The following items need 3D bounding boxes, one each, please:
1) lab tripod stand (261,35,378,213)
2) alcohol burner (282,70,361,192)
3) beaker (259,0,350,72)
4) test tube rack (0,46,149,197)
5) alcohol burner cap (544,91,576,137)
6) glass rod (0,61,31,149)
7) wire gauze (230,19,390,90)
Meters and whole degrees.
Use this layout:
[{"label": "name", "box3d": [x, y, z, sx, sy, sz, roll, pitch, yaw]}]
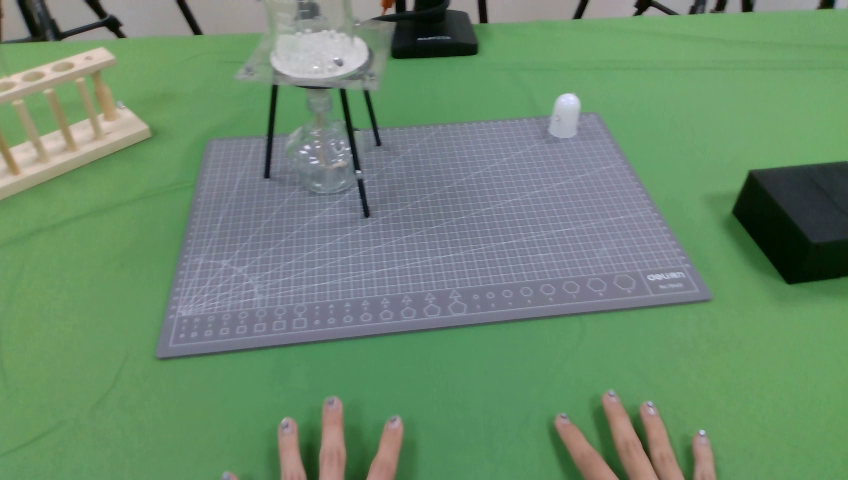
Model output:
[{"label": "lab tripod stand", "box3d": [-0.095, -0.114, 0.578, 0.148, 0.133, 0.147, -1, 45, 1]}, {"label": "alcohol burner", "box3d": [-0.101, -0.107, 0.585, 0.078, 0.120, 0.077, -1, 42, 1]}, {"label": "beaker", "box3d": [-0.102, -0.198, 0.500, 0.084, 0.101, 0.073, 7, 44, 8]}, {"label": "test tube rack", "box3d": [-0.417, -0.106, 0.607, 0.242, 0.086, 0.066, -34, 53, -31]}, {"label": "alcohol burner cap", "box3d": [0.153, -0.143, 0.677, 0.034, 0.048, 0.033, 0, 43, 0]}, {"label": "glass rod", "box3d": [-0.416, -0.179, 0.588, 0.008, 0.201, 0.008, 2, 36, -1]}, {"label": "wire gauze", "box3d": [-0.097, -0.168, 0.539, 0.125, 0.011, 0.120, 2, 43, 6]}]
